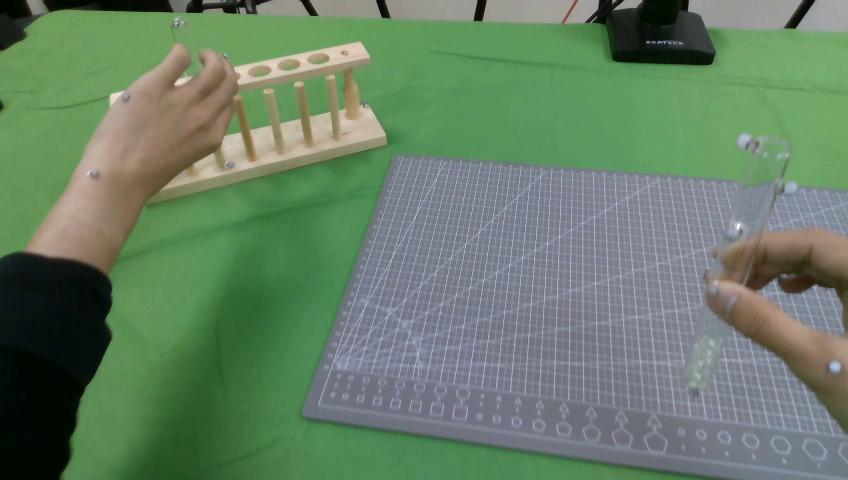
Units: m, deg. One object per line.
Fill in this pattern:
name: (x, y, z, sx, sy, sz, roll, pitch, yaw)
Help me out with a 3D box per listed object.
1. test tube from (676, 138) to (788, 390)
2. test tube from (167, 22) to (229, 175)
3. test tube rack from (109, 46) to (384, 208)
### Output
test tube: (0.141, 0.021, 0.287, 0.017, 0.151, 0.017, -3, 39, 2)
test tube: (-0.201, -0.122, 0.545, 0.017, 0.152, 0.017, -1, 43, 1)
test tube rack: (-0.167, -0.114, 0.599, 0.243, 0.086, 0.066, -17, 47, -14)
